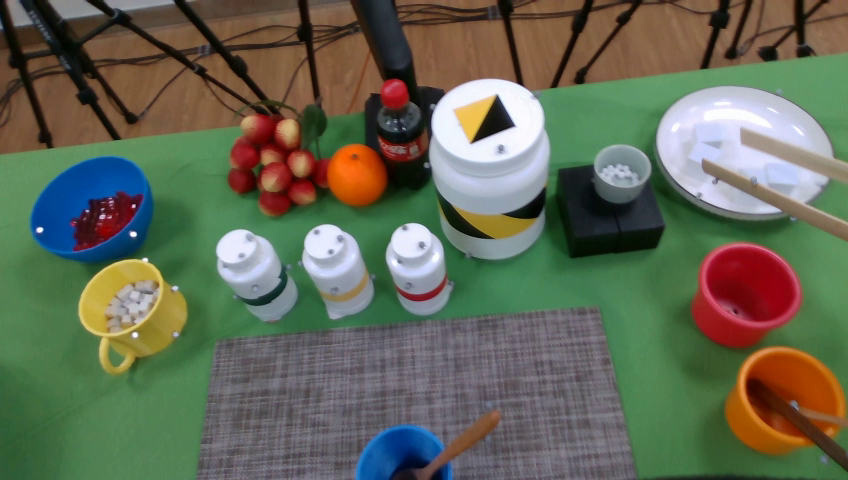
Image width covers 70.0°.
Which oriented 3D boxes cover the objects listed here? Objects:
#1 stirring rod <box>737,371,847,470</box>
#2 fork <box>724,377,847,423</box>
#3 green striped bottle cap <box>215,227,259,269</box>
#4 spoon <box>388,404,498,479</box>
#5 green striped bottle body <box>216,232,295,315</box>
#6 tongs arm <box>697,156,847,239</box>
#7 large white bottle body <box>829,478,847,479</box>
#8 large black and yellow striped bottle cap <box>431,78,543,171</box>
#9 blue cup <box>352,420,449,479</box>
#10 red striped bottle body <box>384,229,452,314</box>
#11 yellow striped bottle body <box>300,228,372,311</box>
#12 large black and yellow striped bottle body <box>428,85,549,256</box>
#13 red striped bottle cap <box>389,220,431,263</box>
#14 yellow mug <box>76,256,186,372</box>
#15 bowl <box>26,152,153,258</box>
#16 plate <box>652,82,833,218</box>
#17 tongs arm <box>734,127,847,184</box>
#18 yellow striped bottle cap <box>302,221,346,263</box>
[{"bbox_3d":[0.335,0.161,0.543,0.014,0.006,0.175,-12,16,-1],"label":"stirring rod"},{"bbox_3d":[0.363,0.158,0.535,0.028,0.019,0.206,-33,16,-21],"label":"fork"},{"bbox_3d":[-0.201,0.008,0.650,0.044,0.020,0.044,-3,57,5],"label":"green striped bottle cap"},{"bbox_3d":[0.010,0.193,0.534,0.022,0.194,0.041,-4,55,-34],"label":"spoon"},{"bbox_3d":[-0.195,0.035,0.695,0.063,0.120,0.062,-3,58,5],"label":"green striped bottle body"},{"bbox_3d":[0.421,-0.015,0.562,0.051,0.027,0.380,-34,38,-7],"label":"tongs arm"},{"bbox_3d":[0.315,0.258,0.459,0.130,0.186,0.129,-3,58,5],"label":"large white bottle body"},{"bbox_3d":[0.064,-0.121,0.621,0.115,0.019,0.114,-3,57,6],"label":"large black and yellow striped bottle cap"},{"bbox_3d":[-0.016,0.225,0.565,0.092,0.101,0.092,-3,57,5],"label":"blue cup"},{"bbox_3d":[-0.007,0.029,0.676,0.063,0.121,0.062,-5,56,9],"label":"red striped bottle body"},{"bbox_3d":[-0.101,0.029,0.687,0.063,0.121,0.062,-4,58,6],"label":"yellow striped bottle body"},{"bbox_3d":[0.074,-0.078,0.694,0.130,0.185,0.129,-3,59,5],"label":"large black and yellow striped bottle body"},{"bbox_3d":[-0.015,0.001,0.631,0.044,0.018,0.044,-1,57,2],"label":"red striped bottle cap"},{"bbox_3d":[-0.348,0.090,0.711,0.100,0.064,0.130,4,60,8],"label":"yellow mug"},{"bbox_3d":[-0.415,-0.032,0.786,0.151,0.077,0.150,-3,59,5],"label":"bowl"},{"bbox_3d":[0.392,-0.111,0.761,0.209,0.038,0.207,-3,59,5],"label":"plate"},{"bbox_3d":[0.450,-0.036,0.567,0.028,0.028,0.383,-32,38,-10],"label":"tongs arm"},{"bbox_3d":[-0.106,0.002,0.643,0.044,0.019,0.044,-2,60,4],"label":"yellow striped bottle cap"}]
